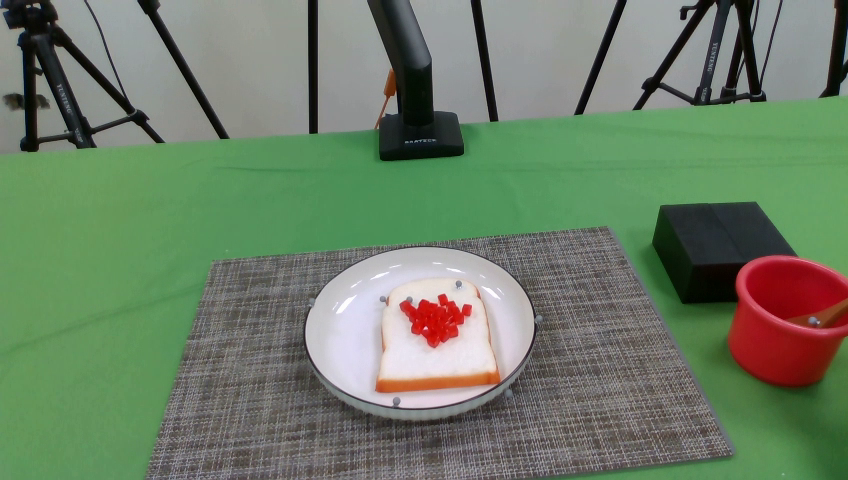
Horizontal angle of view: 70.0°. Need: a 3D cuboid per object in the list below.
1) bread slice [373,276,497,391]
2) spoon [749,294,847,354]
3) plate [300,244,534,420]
[{"bbox_3d":[0.006,0.081,0.556,0.105,0.019,0.130,-3,38,-1],"label":"bread slice"},{"bbox_3d":[0.340,0.045,0.470,0.021,0.194,0.041,38,49,-1],"label":"spoon"},{"bbox_3d":[-0.006,0.081,0.553,0.209,0.038,0.207,-2,38,2],"label":"plate"}]
